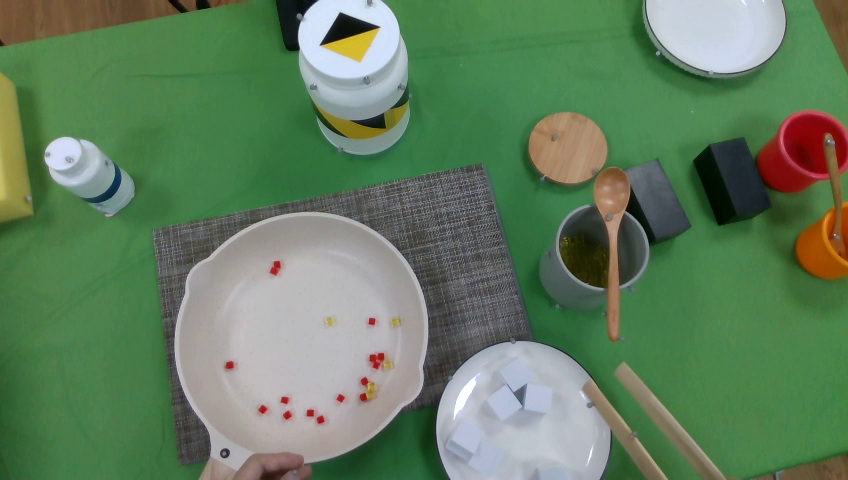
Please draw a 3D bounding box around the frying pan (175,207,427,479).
[{"bbox_3d":[-0.190,0.190,0.691,0.306,0.103,0.486,27,67,7],"label":"frying pan"}]

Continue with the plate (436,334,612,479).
[{"bbox_3d":[0.117,0.218,0.726,0.208,0.039,0.206,0,76,-1],"label":"plate"}]

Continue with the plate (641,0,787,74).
[{"bbox_3d":[0.419,-0.332,0.888,0.209,0.038,0.208,0,74,-1],"label":"plate"}]

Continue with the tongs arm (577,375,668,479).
[{"bbox_3d":[0.289,0.289,0.599,0.051,0.027,0.381,-14,54,-32],"label":"tongs arm"}]

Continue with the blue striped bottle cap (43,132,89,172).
[{"bbox_3d":[-0.421,-0.104,0.711,0.044,0.021,0.044,0,76,-1],"label":"blue striped bottle cap"}]

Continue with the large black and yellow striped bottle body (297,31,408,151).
[{"bbox_3d":[-0.086,-0.209,0.769,0.131,0.185,0.130,0,73,-1],"label":"large black and yellow striped bottle body"}]

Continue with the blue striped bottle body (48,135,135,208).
[{"bbox_3d":[-0.420,-0.089,0.760,0.063,0.121,0.062,0,73,0],"label":"blue striped bottle body"}]

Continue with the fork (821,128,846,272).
[{"bbox_3d":[0.506,-0.046,0.751,0.028,0.018,0.209,-25,120,0],"label":"fork"}]

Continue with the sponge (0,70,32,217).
[{"bbox_3d":[-0.607,-0.127,0.798,0.118,0.061,0.205,-17,76,-6],"label":"sponge"}]

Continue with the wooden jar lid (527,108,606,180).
[{"bbox_3d":[0.195,-0.131,0.837,0.108,0.021,0.108,0,76,-1],"label":"wooden jar lid"}]

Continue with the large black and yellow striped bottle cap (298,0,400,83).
[{"bbox_3d":[-0.085,-0.234,0.688,0.115,0.019,0.114,0,76,-1],"label":"large black and yellow striped bottle cap"}]

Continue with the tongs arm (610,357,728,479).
[{"bbox_3d":[0.319,0.280,0.619,0.028,0.028,0.383,-12,53,-35],"label":"tongs arm"}]

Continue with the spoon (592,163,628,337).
[{"bbox_3d":[0.206,0.009,0.669,0.042,0.022,0.193,4,78,-4],"label":"spoon"}]

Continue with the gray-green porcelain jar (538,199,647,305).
[{"bbox_3d":[0.198,0.020,0.739,0.106,0.127,0.105,0,74,-1],"label":"gray-green porcelain jar"}]
